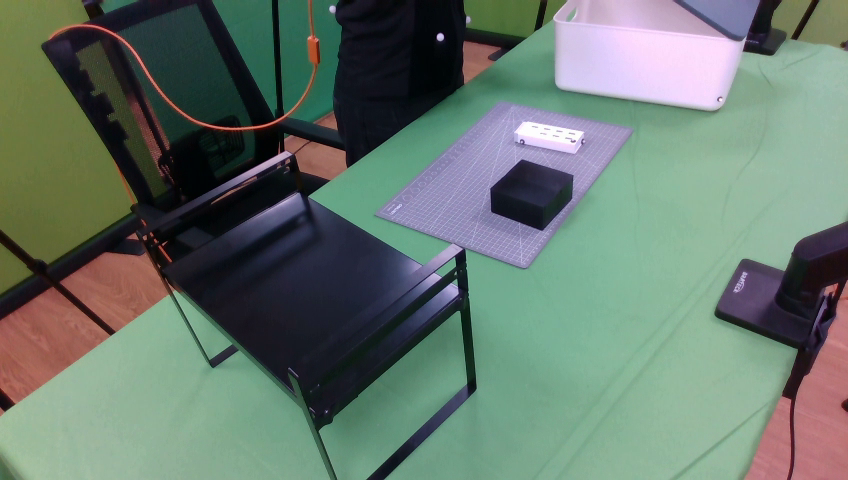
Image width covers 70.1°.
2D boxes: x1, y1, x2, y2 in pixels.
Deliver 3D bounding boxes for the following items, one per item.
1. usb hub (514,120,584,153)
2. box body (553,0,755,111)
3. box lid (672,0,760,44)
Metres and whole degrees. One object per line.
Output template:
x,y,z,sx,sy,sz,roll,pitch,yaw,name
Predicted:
0.241,-0.200,1.165,0.124,0.025,0.049,17,46,26,usb hub
0.480,-0.418,1.282,0.362,0.161,0.254,16,46,25,box body
0.481,-0.534,1.167,0.371,0.015,0.263,37,51,2,box lid
